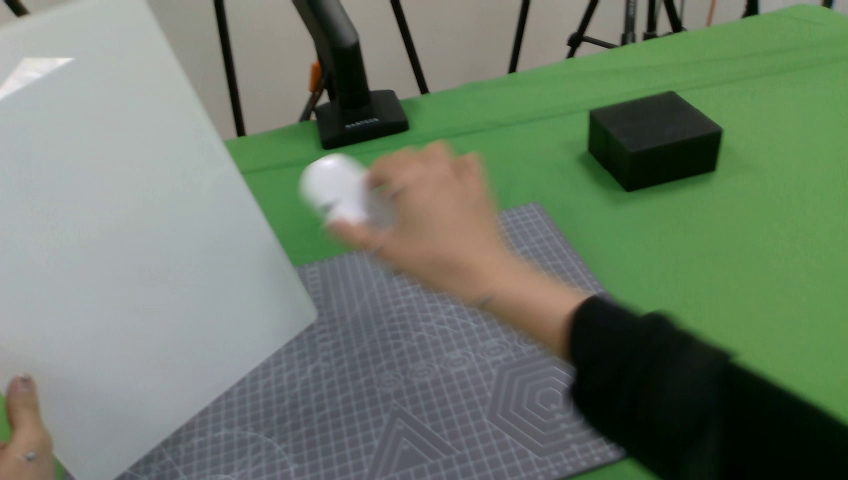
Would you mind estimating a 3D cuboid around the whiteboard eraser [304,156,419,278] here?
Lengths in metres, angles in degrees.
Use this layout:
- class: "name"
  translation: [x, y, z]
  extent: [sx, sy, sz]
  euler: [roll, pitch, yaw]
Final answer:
- class: "whiteboard eraser"
  translation: [-0.044, -0.017, 0.432]
  extent: [0.101, 0.019, 0.041]
  euler: [49, 60, -1]

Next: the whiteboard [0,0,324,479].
- class: "whiteboard"
  translation: [-0.261, -0.003, 0.480]
  extent: [0.217, 0.308, 0.143]
  euler: [-39, 27, -31]
